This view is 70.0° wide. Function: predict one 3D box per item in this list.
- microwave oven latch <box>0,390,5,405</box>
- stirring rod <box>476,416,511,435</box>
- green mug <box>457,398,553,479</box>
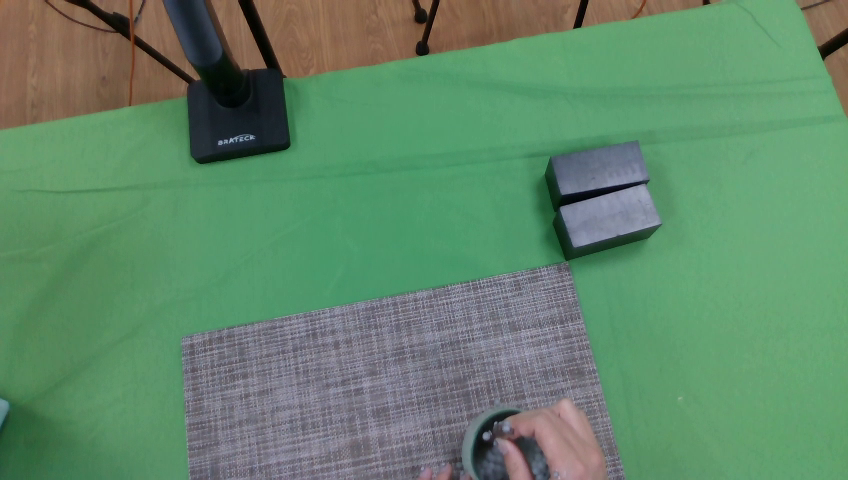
[{"bbox_3d":[-0.476,0.192,0.637,0.030,0.029,0.079,19,76,7],"label":"microwave oven latch"},{"bbox_3d":[0.059,0.165,0.536,0.014,0.177,0.006,12,70,4],"label":"stirring rod"},{"bbox_3d":[0.087,0.214,0.586,0.092,0.105,0.124,-27,74,-6],"label":"green mug"}]
